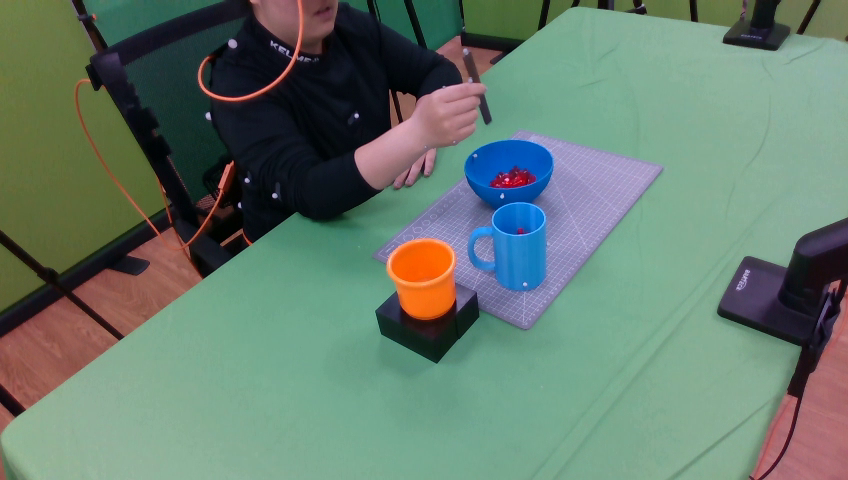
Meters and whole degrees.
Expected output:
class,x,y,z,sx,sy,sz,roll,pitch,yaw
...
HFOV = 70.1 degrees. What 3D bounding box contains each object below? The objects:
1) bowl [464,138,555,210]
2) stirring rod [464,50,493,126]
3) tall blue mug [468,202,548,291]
class,x,y,z,sx,sy,sz,roll,pitch,yaw
bowl,0.145,-0.100,1.025,0.151,0.077,0.150,-5,40,5
stirring rod,0.082,-0.218,0.885,0.014,0.177,0.006,-45,64,-5
tall blue mug,0.125,0.015,0.868,0.107,0.108,0.077,-21,42,-14
